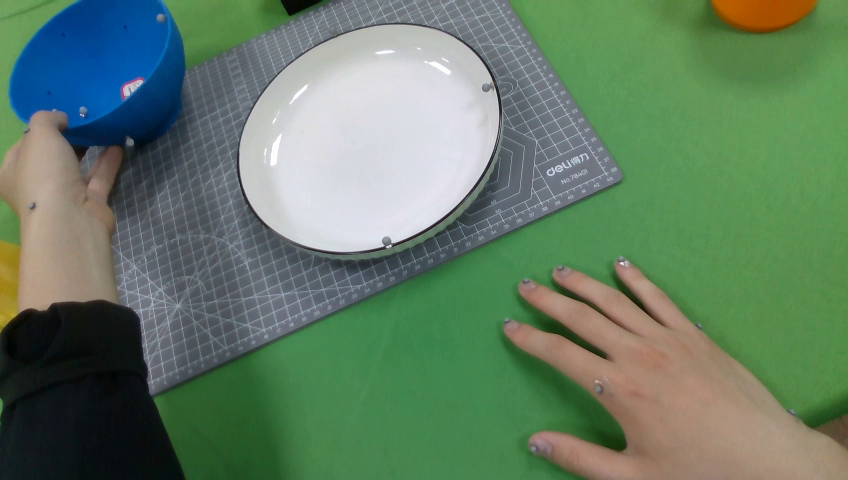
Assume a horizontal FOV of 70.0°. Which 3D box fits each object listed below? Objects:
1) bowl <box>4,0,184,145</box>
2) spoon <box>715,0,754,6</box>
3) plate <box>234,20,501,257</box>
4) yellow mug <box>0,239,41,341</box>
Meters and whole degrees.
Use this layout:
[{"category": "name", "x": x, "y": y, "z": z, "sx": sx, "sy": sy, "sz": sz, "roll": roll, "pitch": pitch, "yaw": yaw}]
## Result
[{"category": "bowl", "x": -0.268, "y": -0.137, "z": 0.528, "sx": 0.151, "sy": 0.077, "sz": 0.150, "roll": -5, "pitch": 64, "yaw": 12}, {"category": "spoon", "x": 0.278, "y": -0.232, "z": 0.399, "sx": 0.022, "sy": 0.194, "sz": 0.041, "roll": 1, "pitch": 60, "yaw": -35}, {"category": "plate", "x": -0.043, "y": -0.078, "z": 0.467, "sx": 0.209, "sy": 0.038, "sz": 0.207, "roll": -5, "pitch": 64, "yaw": 11}, {"category": "yellow mug", "x": -0.364, "y": 0.039, "z": 0.480, "sx": 0.130, "sy": 0.064, "sz": 0.099, "roll": 23, "pitch": 72, "yaw": 21}]
